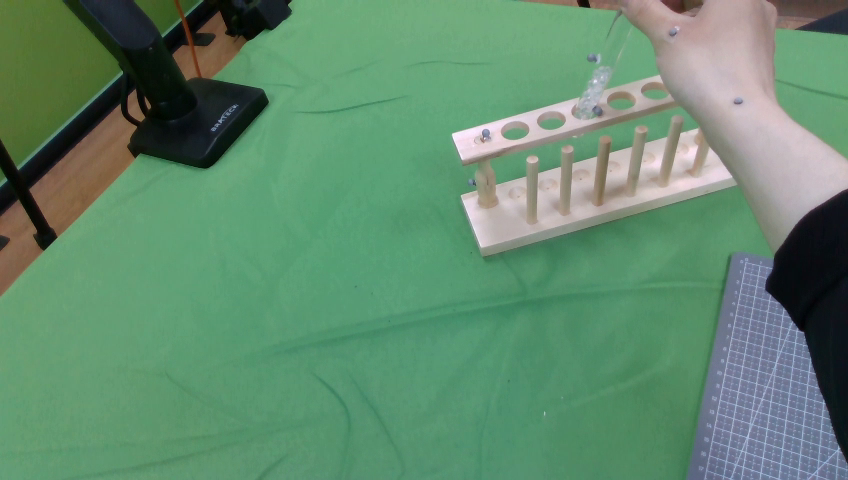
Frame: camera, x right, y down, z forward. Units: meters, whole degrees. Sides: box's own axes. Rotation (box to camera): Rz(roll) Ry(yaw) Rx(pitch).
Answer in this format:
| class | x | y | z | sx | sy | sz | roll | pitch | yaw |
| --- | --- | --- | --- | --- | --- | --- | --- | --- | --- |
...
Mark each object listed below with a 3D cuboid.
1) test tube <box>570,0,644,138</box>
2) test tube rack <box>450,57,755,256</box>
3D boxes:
| class | x | y | z | sx | sy | sz | roll | pitch | yaw |
| --- | --- | --- | --- | --- | --- | --- | --- | --- | --- |
| test tube | 0.137 | -0.141 | 0.451 | 0.017 | 0.151 | 0.017 | 11 | 40 | -9 |
| test tube rack | 0.150 | -0.068 | 0.503 | 0.242 | 0.086 | 0.066 | -16 | 50 | -2 |
